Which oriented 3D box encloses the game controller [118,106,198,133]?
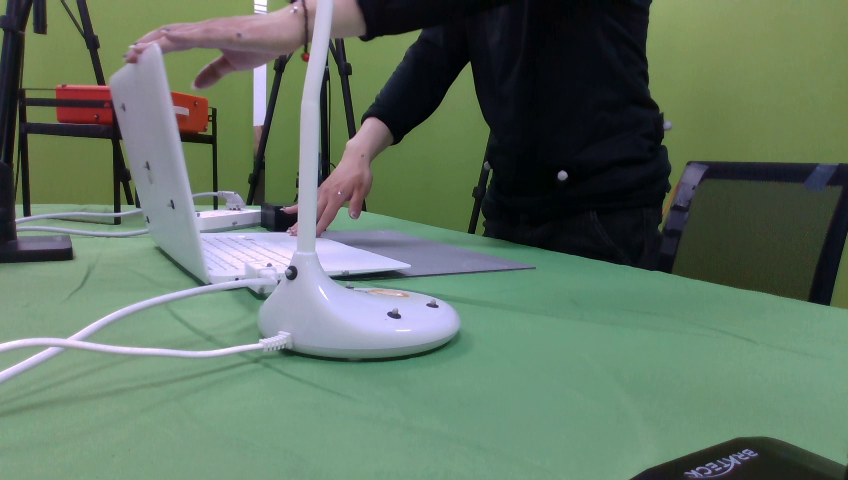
[{"bbox_3d":[-0.555,-0.251,1.255,0.097,0.051,0.155,9,12,18],"label":"game controller"}]

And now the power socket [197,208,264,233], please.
[{"bbox_3d":[-0.381,-0.038,1.128,0.072,0.032,0.227,4,8,16],"label":"power socket"}]

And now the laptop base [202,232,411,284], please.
[{"bbox_3d":[-0.204,0.019,0.807,0.237,0.023,0.352,1,7,-33],"label":"laptop base"}]

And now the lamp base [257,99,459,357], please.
[{"bbox_3d":[-0.055,-0.013,0.463,0.160,0.180,0.180,6,11,27],"label":"lamp base"}]

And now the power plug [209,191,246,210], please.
[{"bbox_3d":[-0.387,-0.071,1.204,0.072,0.052,0.035,4,8,26],"label":"power plug"}]

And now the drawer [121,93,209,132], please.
[{"bbox_3d":[-0.595,-0.268,1.263,0.211,0.073,0.195,3,8,15],"label":"drawer"}]

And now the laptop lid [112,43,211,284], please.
[{"bbox_3d":[-0.321,-0.089,0.715,0.013,0.241,0.355,-16,17,-30],"label":"laptop lid"}]

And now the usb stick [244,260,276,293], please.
[{"bbox_3d":[-0.166,0.035,0.604,0.021,0.027,0.059,-7,7,-28],"label":"usb stick"}]

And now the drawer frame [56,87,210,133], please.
[{"bbox_3d":[-0.598,-0.269,1.261,0.213,0.082,0.202,4,8,14],"label":"drawer frame"}]
